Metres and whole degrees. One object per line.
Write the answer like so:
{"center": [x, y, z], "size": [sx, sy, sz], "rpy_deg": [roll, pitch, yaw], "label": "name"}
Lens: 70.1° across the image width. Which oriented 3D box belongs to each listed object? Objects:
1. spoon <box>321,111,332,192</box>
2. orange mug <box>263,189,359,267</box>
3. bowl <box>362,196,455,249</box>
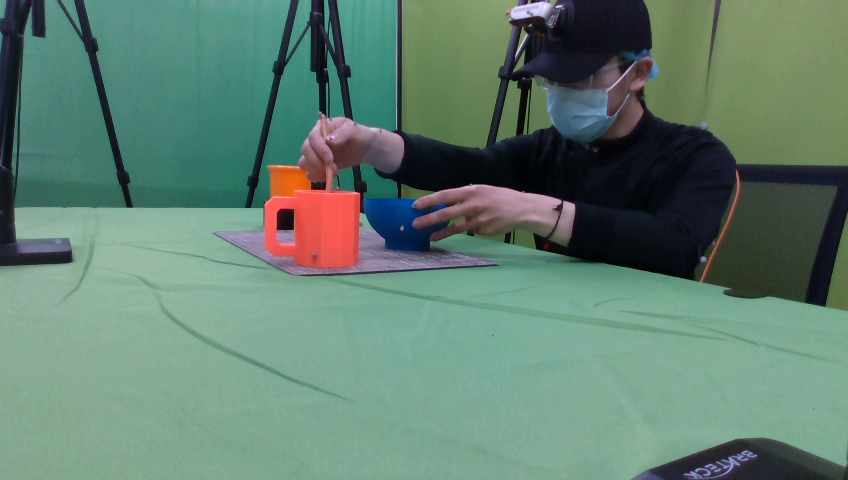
{"center": [-0.128, -0.081, 0.813], "size": [0.041, 0.193, 0.021], "rpy_deg": [-3, -6, 2], "label": "spoon"}
{"center": [-0.147, -0.019, 0.794], "size": [0.127, 0.100, 0.083], "rpy_deg": [5, 6, -20], "label": "orange mug"}
{"center": [-0.027, -0.028, 0.985], "size": [0.151, 0.077, 0.151], "rpy_deg": [2, 7, 0], "label": "bowl"}
